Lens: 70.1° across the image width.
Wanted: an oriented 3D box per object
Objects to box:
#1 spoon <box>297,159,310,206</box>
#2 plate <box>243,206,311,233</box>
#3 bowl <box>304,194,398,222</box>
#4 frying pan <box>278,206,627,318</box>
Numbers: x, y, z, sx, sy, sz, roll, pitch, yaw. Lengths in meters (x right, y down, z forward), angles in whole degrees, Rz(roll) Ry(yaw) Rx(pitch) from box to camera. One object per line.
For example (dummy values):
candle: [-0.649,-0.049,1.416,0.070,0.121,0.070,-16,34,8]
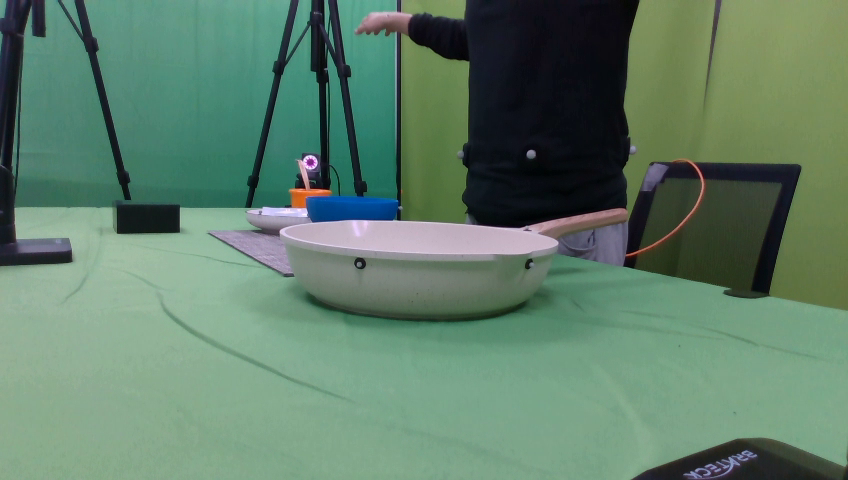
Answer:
spoon: [-0.260,-0.114,1.340,0.042,0.193,0.021,0,-37,-25]
plate: [-0.236,-0.037,1.150,0.208,0.039,0.207,2,7,0]
bowl: [-0.118,-0.031,0.974,0.151,0.077,0.151,3,7,0]
frying pan: [0.079,0.002,0.705,0.490,0.102,0.305,-12,15,-33]
